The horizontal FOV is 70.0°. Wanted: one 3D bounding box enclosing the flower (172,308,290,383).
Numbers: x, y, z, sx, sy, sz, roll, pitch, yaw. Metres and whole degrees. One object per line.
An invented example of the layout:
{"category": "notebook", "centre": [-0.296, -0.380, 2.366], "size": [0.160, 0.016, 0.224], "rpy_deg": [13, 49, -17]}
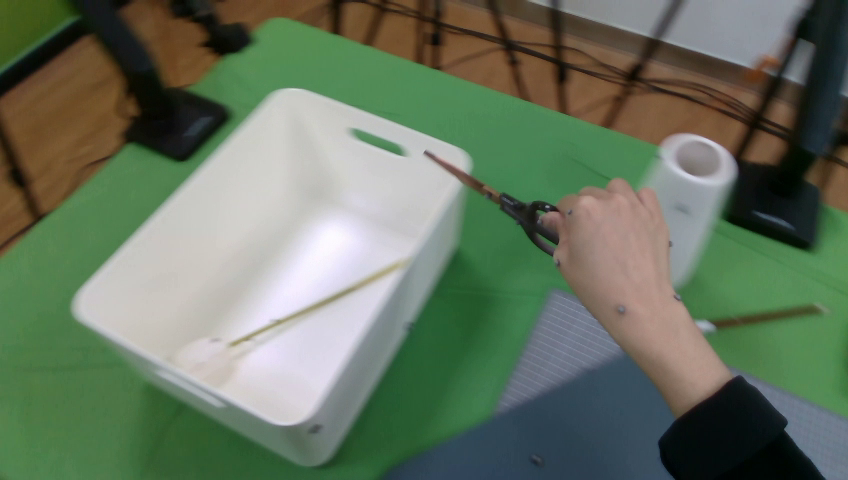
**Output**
{"category": "flower", "centre": [-0.143, 0.073, 0.752], "size": [0.038, 0.044, 0.362], "rpy_deg": [12, 28, 38]}

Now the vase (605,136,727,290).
{"category": "vase", "centre": [0.279, -0.028, 0.710], "size": [0.098, 0.202, 0.097], "rpy_deg": [0, 52, 0]}

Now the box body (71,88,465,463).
{"category": "box body", "centre": [-0.140, 0.029, 0.677], "size": [0.253, 0.162, 0.362], "rpy_deg": [23, 56, 14]}

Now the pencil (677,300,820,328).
{"category": "pencil", "centre": [0.402, 0.089, 0.746], "size": [0.194, 0.012, 0.012], "rpy_deg": [-8, 54, -9]}

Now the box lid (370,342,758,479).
{"category": "box lid", "centre": [0.155, 0.271, 0.602], "size": [0.372, 0.015, 0.260], "rpy_deg": [-22, 58, -16]}

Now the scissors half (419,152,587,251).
{"category": "scissors half", "centre": [0.061, -0.039, 0.517], "size": [0.173, 0.040, 0.013], "rpy_deg": [31, 77, 29]}

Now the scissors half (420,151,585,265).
{"category": "scissors half", "centre": [0.065, -0.031, 0.535], "size": [0.174, 0.040, 0.013], "rpy_deg": [36, 73, 11]}
